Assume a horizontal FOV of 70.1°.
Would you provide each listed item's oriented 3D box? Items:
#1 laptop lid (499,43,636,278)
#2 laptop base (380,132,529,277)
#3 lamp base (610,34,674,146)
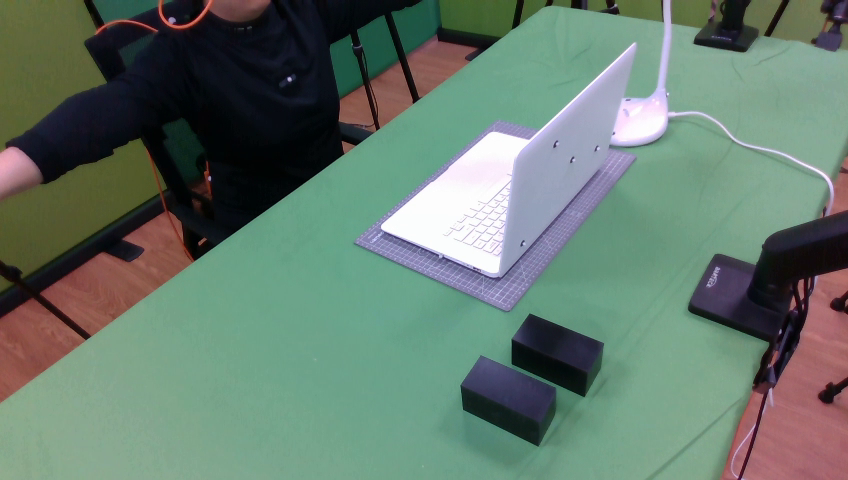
[{"bbox_3d":[0.217,-0.122,0.898,0.013,0.242,0.358,28,50,25],"label":"laptop lid"},{"bbox_3d":[0.122,-0.077,1.042,0.233,0.023,0.355,20,47,33],"label":"laptop base"},{"bbox_3d":[0.392,-0.291,1.129,0.180,0.181,0.159,-11,41,-8],"label":"lamp base"}]
